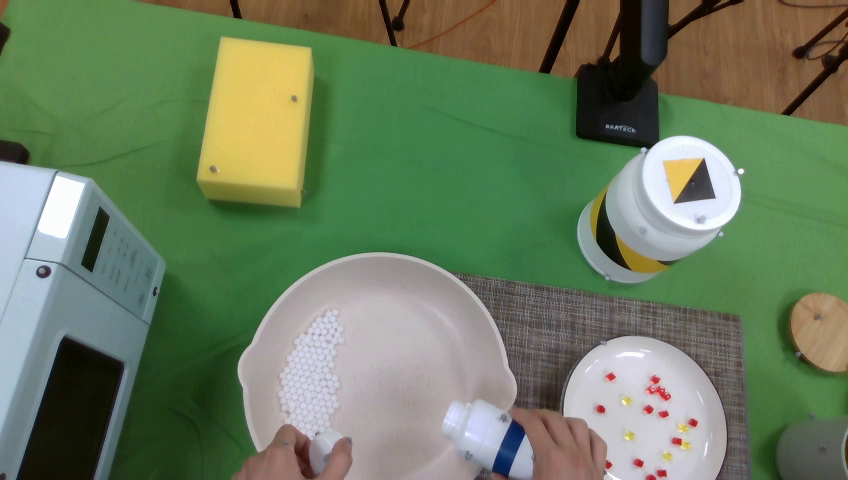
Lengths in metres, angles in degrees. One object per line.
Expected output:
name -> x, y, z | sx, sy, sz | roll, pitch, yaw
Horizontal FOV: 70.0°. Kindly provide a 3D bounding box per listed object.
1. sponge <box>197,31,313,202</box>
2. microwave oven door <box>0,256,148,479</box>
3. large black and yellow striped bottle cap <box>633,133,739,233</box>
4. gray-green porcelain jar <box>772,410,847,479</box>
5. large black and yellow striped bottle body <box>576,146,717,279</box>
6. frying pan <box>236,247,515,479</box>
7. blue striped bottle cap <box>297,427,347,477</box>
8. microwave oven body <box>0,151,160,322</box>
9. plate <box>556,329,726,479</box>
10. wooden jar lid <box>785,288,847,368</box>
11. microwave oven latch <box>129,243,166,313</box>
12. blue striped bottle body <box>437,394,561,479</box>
sponge -> -0.214, -0.160, 0.786 | 0.118, 0.061, 0.205 | 4, 72, -7
microwave oven door -> -0.340, 0.214, 0.529 | 0.039, 0.245, 0.353 | 9, 70, -5
large black and yellow striped bottle cap -> 0.289, -0.064, 0.668 | 0.115, 0.019, 0.114 | 3, 70, -6
gray-green porcelain jar -> 0.489, 0.255, 0.711 | 0.106, 0.127, 0.105 | 2, 71, -7
large black and yellow striped bottle body -> 0.279, -0.037, 0.749 | 0.131, 0.185, 0.130 | 2, 71, -7
frying pan -> -0.063, 0.246, 0.647 | 0.307, 0.103, 0.484 | 8, 63, -3
blue striped bottle cap -> -0.095, 0.198, 0.564 | 0.044, 0.021, 0.044 | -9, 70, 24
microwave oven body -> -0.478, 0.153, 0.536 | 0.326, 0.261, 0.439 | 9, 71, -5
plate -> 0.259, 0.214, 0.736 | 0.209, 0.038, 0.208 | 2, 72, -6
wooden jar lid -> 0.538, 0.119, 0.820 | 0.108, 0.021, 0.107 | 2, 73, -6
microwave oven latch -> -0.322, 0.042, 0.697 | 0.030, 0.029, 0.078 | 12, 71, -4
blue striped bottle body -> 0.075, 0.201, 0.627 | 0.120, 0.063, 0.063 | 21, 69, 13
